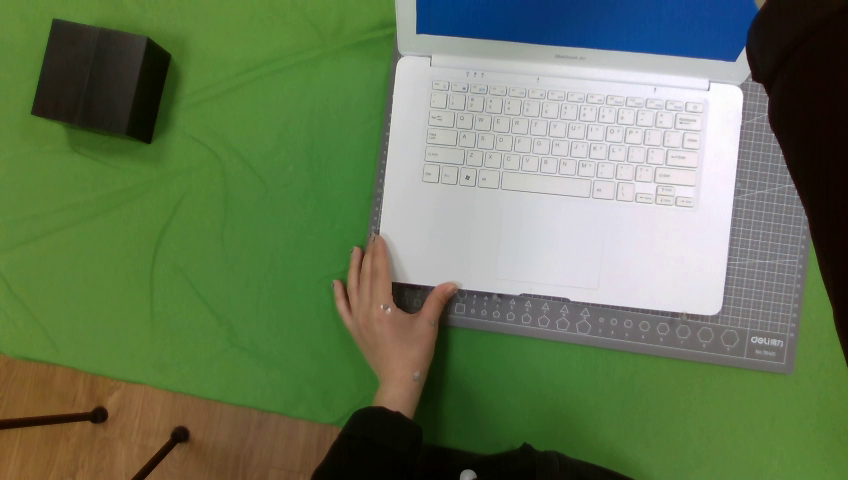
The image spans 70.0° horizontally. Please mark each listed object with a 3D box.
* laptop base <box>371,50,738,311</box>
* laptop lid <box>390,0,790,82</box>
[{"bbox_3d":[0.131,-0.061,0.622,0.354,0.023,0.235,6,92,2],"label":"laptop base"},{"bbox_3d":[0.143,-0.232,0.520,0.356,0.243,0.013,5,62,3],"label":"laptop lid"}]
